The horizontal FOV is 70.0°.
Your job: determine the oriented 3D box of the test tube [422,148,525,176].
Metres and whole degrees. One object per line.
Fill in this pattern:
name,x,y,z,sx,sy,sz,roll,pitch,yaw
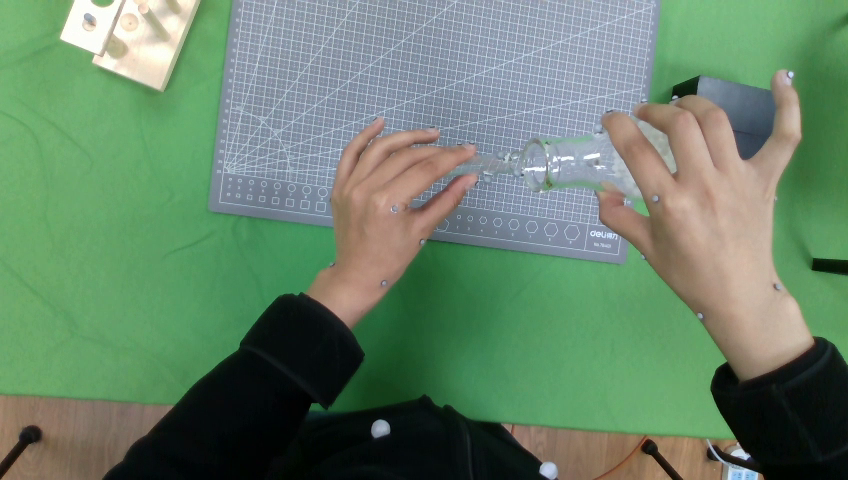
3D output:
test tube,0.034,-0.061,0.490,0.017,0.149,0.017,-2,95,-24

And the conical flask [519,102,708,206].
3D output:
conical flask,0.129,-0.058,0.424,0.122,0.075,0.075,-6,93,-21

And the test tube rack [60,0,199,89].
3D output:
test tube rack,-0.234,-0.269,0.547,0.067,0.085,0.242,21,89,-10
